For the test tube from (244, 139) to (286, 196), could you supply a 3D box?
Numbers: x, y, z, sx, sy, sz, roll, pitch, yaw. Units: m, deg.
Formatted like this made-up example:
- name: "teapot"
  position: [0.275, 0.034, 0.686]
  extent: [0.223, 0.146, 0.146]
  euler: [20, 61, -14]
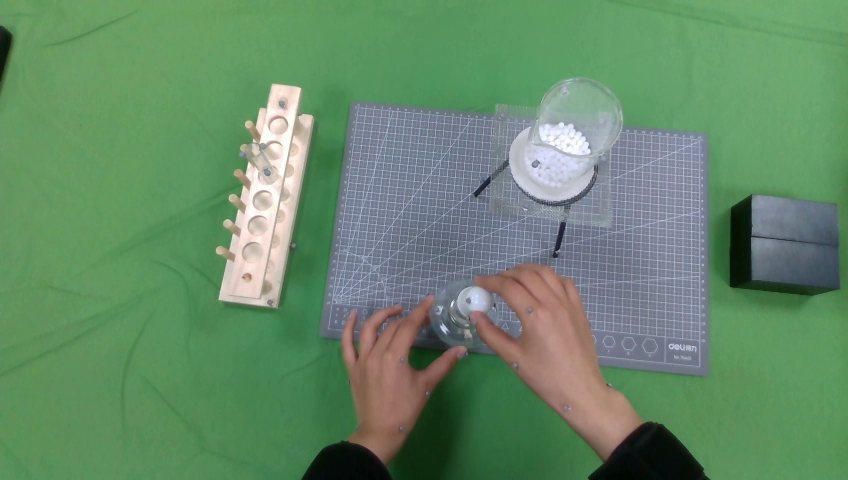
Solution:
- name: "test tube"
  position: [-0.167, -0.074, 0.649]
  extent: [0.017, 0.150, 0.017]
  euler: [1, 78, -3]

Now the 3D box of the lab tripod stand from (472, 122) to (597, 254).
- name: "lab tripod stand"
  position: [0.132, -0.067, 0.676]
  extent: [0.148, 0.132, 0.147]
  euler: [0, 75, 0]

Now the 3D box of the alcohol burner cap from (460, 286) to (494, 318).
- name: "alcohol burner cap"
  position: [0.052, 0.059, 0.580]
  extent: [0.034, 0.048, 0.034]
  euler: [0, 84, 0]

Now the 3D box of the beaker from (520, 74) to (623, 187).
- name: "beaker"
  position: [0.129, -0.095, 0.565]
  extent: [0.084, 0.100, 0.073]
  euler: [-28, 79, -7]

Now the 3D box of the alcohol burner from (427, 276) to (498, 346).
- name: "alcohol burner"
  position: [0.043, 0.075, 0.653]
  extent: [0.078, 0.119, 0.077]
  euler: [1, 77, -2]

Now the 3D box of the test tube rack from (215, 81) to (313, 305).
- name: "test tube rack"
  position: [-0.188, -0.053, 0.695]
  extent: [0.067, 0.085, 0.241]
  euler: [8, 77, 1]

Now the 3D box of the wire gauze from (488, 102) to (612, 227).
- name: "wire gauze"
  position: [0.128, -0.079, 0.611]
  extent: [0.125, 0.011, 0.121]
  euler: [7, 78, -2]
